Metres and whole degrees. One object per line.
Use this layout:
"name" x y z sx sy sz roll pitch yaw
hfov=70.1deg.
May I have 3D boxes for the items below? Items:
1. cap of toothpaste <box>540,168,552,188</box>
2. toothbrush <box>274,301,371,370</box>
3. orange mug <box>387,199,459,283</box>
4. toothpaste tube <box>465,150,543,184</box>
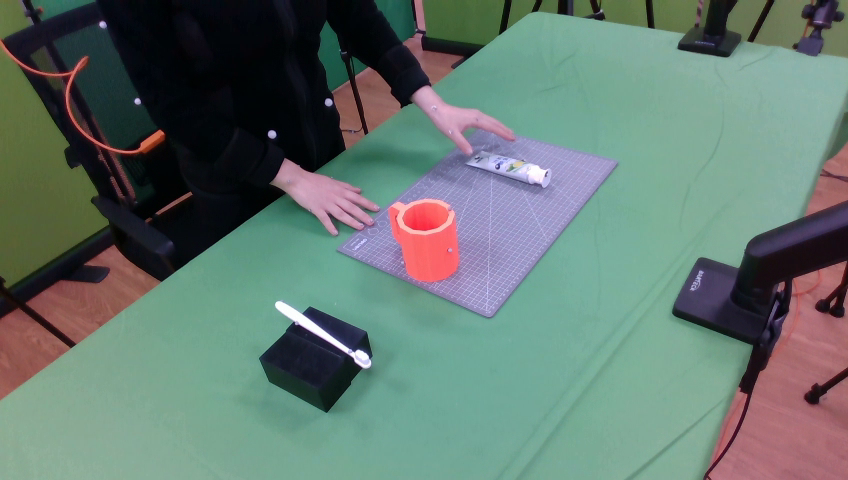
"cap of toothpaste" 0.213 -0.109 1.058 0.011 0.037 0.037 19 47 27
"toothbrush" -0.136 0.119 0.783 0.180 0.017 0.014 25 53 32
"orange mug" -0.006 -0.007 0.922 0.125 0.101 0.084 32 54 32
"toothpaste tube" 0.154 -0.135 1.108 0.163 0.034 0.055 23 43 37
